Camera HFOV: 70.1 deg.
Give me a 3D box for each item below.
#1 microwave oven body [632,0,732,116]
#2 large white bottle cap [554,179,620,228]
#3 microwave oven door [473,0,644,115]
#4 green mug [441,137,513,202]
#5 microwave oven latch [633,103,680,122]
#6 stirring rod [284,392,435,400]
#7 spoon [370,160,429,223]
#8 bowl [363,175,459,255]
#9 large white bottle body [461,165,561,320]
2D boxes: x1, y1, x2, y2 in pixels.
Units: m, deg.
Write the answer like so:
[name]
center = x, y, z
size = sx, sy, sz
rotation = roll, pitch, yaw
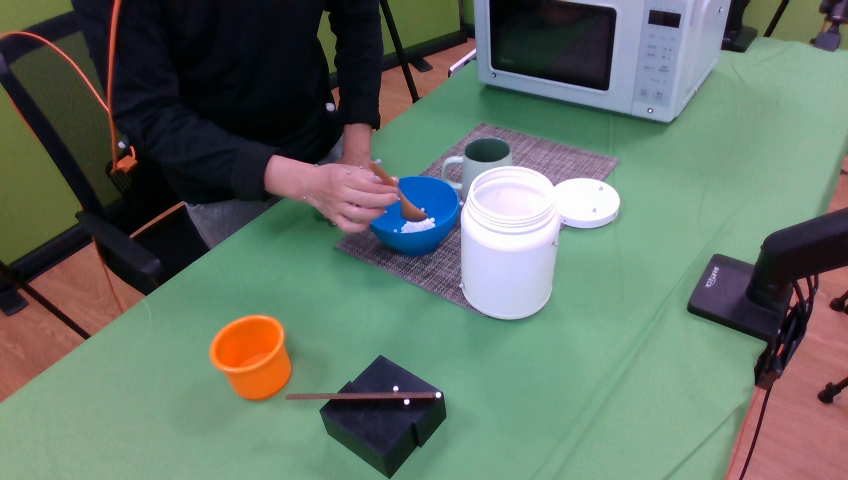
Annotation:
[microwave oven body]
center = 0.377, -0.462, 1.267
size = 0.438, 0.261, 0.327
rotation = 21, 49, 30
[large white bottle cap]
center = 0.265, -0.062, 1.001
size = 0.115, 0.018, 0.114
rotation = -3, 41, 3
[microwave oven door]
center = 0.257, -0.396, 1.199
size = 0.353, 0.245, 0.039
rotation = 21, 48, 29
[green mug]
center = 0.091, -0.108, 1.012
size = 0.125, 0.105, 0.092
rotation = 2, 42, 11
[microwave oven latch]
center = 0.444, -0.249, 1.157
size = 0.078, 0.029, 0.030
rotation = 21, 49, 30
[stirring rod]
center = -0.075, 0.180, 0.698
size = 0.176, 0.006, 0.014
rotation = -2, 6, 7
[spoon]
center = -0.036, -0.064, 0.843
size = 0.041, 0.195, 0.021
rotation = -2, 65, 19
[bowl]
center = -0.016, -0.029, 0.955
size = 0.151, 0.077, 0.150
rotation = -4, 40, 3
[large white bottle body]
center = 0.115, 0.004, 0.816
size = 0.130, 0.185, 0.130
rotation = -2, 43, 2
